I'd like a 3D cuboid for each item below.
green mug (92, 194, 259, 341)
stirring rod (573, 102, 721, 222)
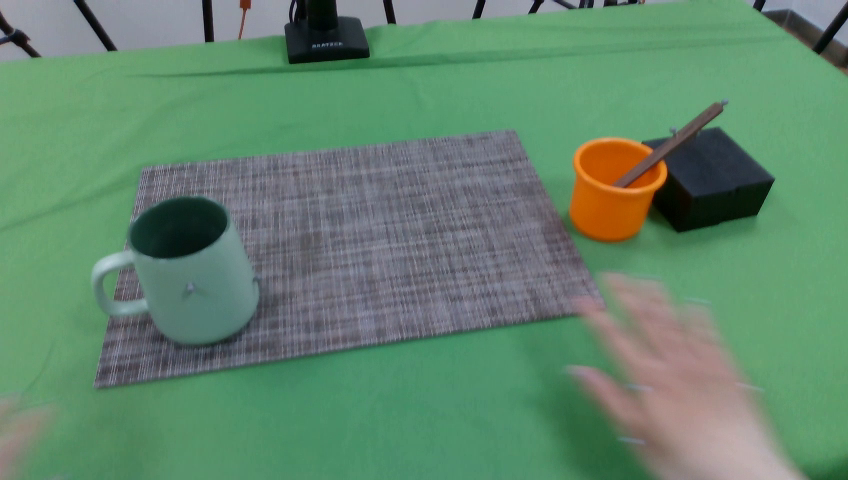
[{"bbox_3d":[-0.211,0.029,0.514,0.125,0.106,0.091,-16,47,-17],"label":"green mug"},{"bbox_3d":[0.223,-0.077,0.615,0.176,0.006,0.014,-41,48,19],"label":"stirring rod"}]
